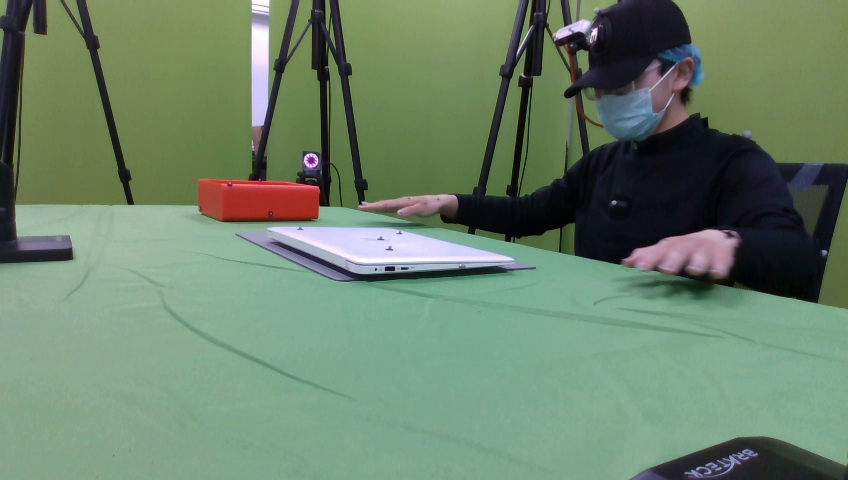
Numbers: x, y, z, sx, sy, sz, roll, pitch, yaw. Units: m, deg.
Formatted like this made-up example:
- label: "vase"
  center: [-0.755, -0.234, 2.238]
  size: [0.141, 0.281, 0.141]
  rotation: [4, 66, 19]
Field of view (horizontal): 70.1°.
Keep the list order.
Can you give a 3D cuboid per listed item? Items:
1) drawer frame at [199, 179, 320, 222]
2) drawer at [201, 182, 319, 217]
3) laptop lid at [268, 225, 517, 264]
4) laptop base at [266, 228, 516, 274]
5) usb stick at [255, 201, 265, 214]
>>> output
- label: "drawer frame"
  center: [-0.370, -0.093, 1.356]
  size: [0.215, 0.082, 0.200]
  rotation: [-4, 10, -34]
- label: "drawer"
  center: [-0.369, -0.092, 1.358]
  size: [0.213, 0.073, 0.193]
  rotation: [-3, 10, -34]
- label: "laptop lid"
  center: [-0.063, 0.002, 0.877]
  size: [0.243, 0.013, 0.355]
  rotation: [1, 7, -30]
- label: "laptop base"
  center: [-0.066, 0.014, 0.877]
  size: [0.237, 0.023, 0.352]
  rotation: [2, 6, -32]
- label: "usb stick"
  center: [-0.368, -0.074, 1.360]
  size: [0.021, 0.027, 0.059]
  rotation: [1, 8, -16]
